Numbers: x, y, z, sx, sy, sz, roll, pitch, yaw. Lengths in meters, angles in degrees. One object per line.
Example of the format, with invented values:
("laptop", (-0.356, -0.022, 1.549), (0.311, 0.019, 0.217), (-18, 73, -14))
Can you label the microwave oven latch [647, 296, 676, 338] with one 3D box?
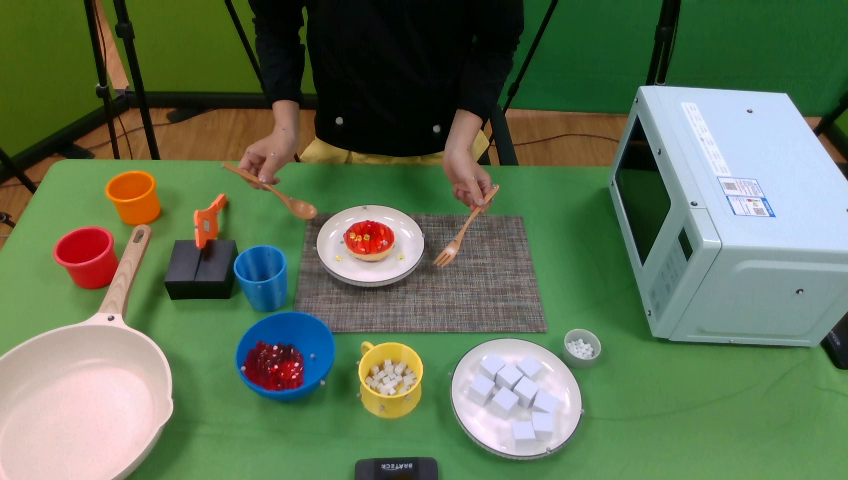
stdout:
("microwave oven latch", (0.413, 0.133, 1.060), (0.030, 0.029, 0.078), (4, 46, 1))

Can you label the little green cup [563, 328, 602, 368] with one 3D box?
("little green cup", (0.265, 0.184, 1.025), (0.061, 0.039, 0.061), (1, 46, -1))

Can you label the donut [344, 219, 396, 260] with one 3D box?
("donut", (-0.102, -0.003, 1.157), (0.099, 0.048, 0.098), (3, 43, -3))

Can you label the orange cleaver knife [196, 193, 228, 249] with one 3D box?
("orange cleaver knife", (-0.406, -0.041, 1.163), (0.012, 0.077, 0.210), (0, 18, -3))

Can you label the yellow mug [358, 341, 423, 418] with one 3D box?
("yellow mug", (-0.063, 0.210, 0.961), (0.100, 0.064, 0.130), (-29, 54, -28))

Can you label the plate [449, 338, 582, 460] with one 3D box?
("plate", (0.141, 0.251, 0.955), (0.208, 0.039, 0.206), (2, 46, -2))

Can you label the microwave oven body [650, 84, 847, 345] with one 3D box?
("microwave oven body", (0.569, -0.054, 1.115), (0.326, 0.261, 0.439), (2, 46, -1))

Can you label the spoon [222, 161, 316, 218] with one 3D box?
("spoon", (-0.289, -0.097, 1.141), (0.194, 0.021, 0.041), (34, 48, -22))

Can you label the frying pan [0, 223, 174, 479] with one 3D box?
("frying pan", (-0.505, 0.169, 0.941), (0.307, 0.103, 0.485), (5, 54, -1))

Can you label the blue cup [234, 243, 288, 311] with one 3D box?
("blue cup", (-0.276, 0.072, 1.052), (0.093, 0.101, 0.092), (1, 48, -1))

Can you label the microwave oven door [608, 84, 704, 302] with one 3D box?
("microwave oven door", (0.424, -0.096, 1.138), (0.039, 0.245, 0.353), (2, 47, -1))

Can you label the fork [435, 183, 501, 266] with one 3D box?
("fork", (0.086, -0.032, 1.144), (0.028, 0.019, 0.207), (25, 72, 37))

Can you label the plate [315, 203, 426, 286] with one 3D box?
("plate", (-0.101, 0.012, 1.159), (0.209, 0.038, 0.208), (2, 46, -2))

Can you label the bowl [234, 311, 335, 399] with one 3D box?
("bowl", (-0.214, 0.194, 0.956), (0.151, 0.077, 0.150), (2, 46, -2))
